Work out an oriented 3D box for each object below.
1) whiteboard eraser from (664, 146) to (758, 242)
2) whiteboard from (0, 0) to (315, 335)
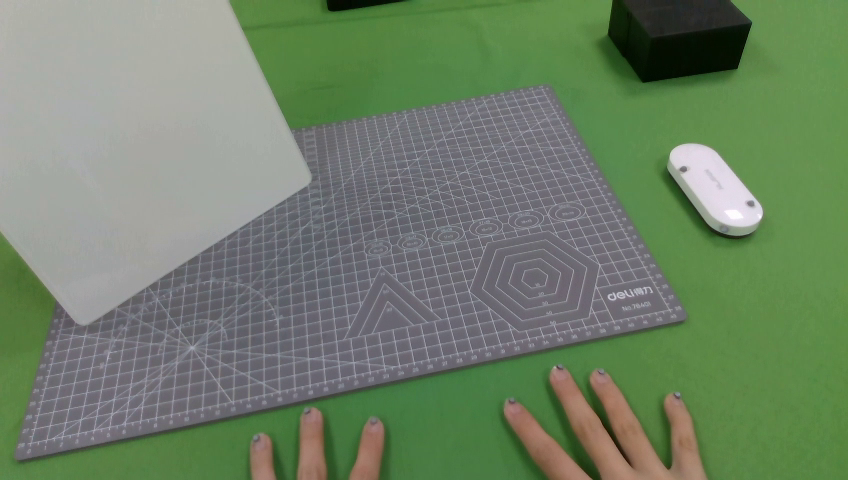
[{"bbox_3d":[0.230,-0.040,0.489,0.041,0.019,0.100,-10,48,-5],"label":"whiteboard eraser"},{"bbox_3d":[-0.261,-0.128,0.461,0.217,0.308,0.142,-37,35,-25],"label":"whiteboard"}]
